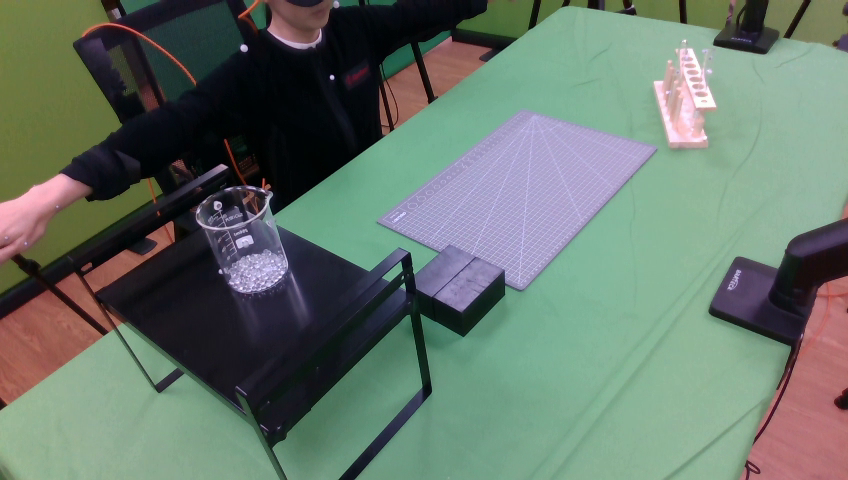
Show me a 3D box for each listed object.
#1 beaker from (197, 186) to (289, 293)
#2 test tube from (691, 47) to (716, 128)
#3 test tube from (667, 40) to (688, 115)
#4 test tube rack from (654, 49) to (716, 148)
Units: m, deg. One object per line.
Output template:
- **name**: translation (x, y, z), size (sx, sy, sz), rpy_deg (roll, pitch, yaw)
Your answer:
- **beaker**: translation (-0.192, 0.001, 0.666), size (0.084, 0.101, 0.073), rpy_deg (-33, 47, -27)
- **test tube**: translation (0.503, -0.272, 1.090), size (0.017, 0.151, 0.017), rpy_deg (-3, 37, 3)
- **test tube**: translation (0.477, -0.303, 1.138), size (0.017, 0.151, 0.017), rpy_deg (-5, 42, 5)
- **test tube rack**: translation (0.502, -0.281, 1.176), size (0.066, 0.085, 0.241), rpy_deg (1, 41, 11)
